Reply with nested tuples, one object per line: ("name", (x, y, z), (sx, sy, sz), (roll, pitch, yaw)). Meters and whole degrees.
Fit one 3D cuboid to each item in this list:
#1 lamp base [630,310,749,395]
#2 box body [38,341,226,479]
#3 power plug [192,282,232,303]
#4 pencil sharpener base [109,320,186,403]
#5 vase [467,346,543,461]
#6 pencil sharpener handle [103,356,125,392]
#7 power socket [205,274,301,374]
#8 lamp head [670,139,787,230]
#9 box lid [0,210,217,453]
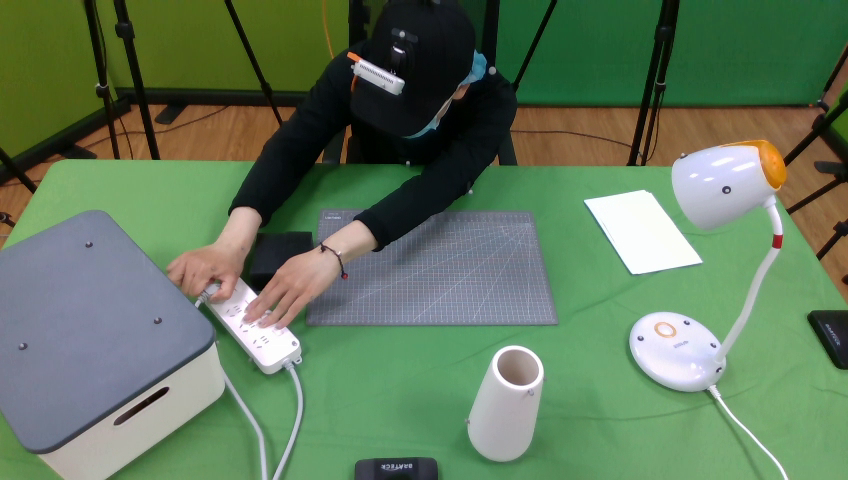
("lamp base", (0.447, 0.143, 0.984), (0.161, 0.181, 0.178), (-24, 55, -24))
("box body", (-0.504, 0.154, 0.917), (0.362, 0.161, 0.254), (36, 54, 27))
("power plug", (-0.367, 0.097, 1.040), (0.072, 0.053, 0.035), (-25, 55, -19))
("pencil sharpener base", (-0.419, 0.187, 0.919), (0.077, 0.107, 0.061), (-30, 54, -27))
("vase", (0.116, 0.235, 0.861), (0.098, 0.201, 0.097), (1, 47, -1))
("pencil sharpener handle", (-0.460, 0.200, 0.887), (0.030, 0.068, 0.036), (-30, 61, -27))
("power socket", (-0.296, 0.140, 1.036), (0.072, 0.033, 0.225), (-32, 57, -29))
("lamp head", (0.415, -0.079, 0.812), (0.113, 0.123, 0.112), (13, 70, -37))
("box lid", (-0.501, 0.102, 0.865), (0.369, 0.015, 0.263), (36, 54, 27))
